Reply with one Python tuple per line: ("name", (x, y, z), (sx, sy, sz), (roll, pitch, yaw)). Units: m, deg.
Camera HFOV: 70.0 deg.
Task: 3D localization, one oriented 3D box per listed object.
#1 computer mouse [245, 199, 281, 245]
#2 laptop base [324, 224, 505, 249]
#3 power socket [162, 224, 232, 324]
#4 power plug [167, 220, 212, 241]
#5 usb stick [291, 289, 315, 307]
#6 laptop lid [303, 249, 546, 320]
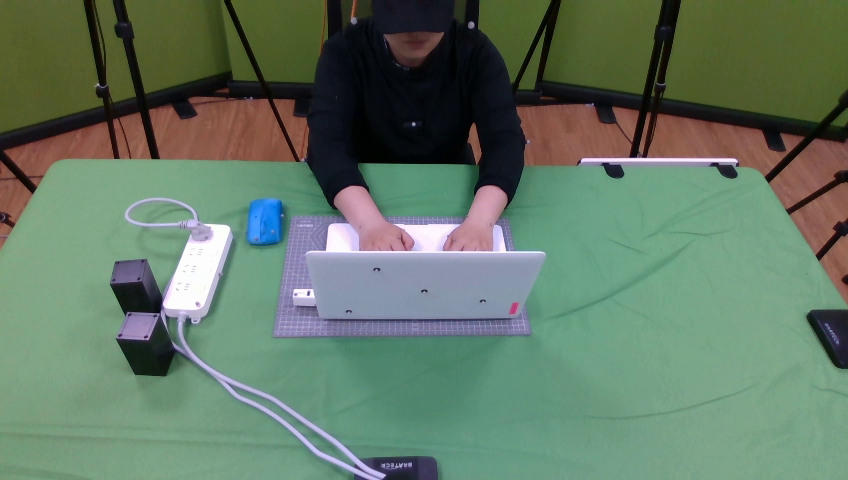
("computer mouse", (-0.318, -0.039, 1.201), (0.063, 0.041, 0.116), (0, 50, -8))
("laptop base", (-0.014, 0.056, 1.144), (0.355, 0.023, 0.234), (0, 42, -4))
("power socket", (-0.411, 0.053, 1.106), (0.072, 0.033, 0.225), (4, 45, -1))
("power plug", (-0.438, -0.017, 1.143), (0.072, 0.053, 0.035), (10, 43, 7))
("usb stick", (-0.203, 0.102, 1.066), (0.059, 0.027, 0.021), (4, 45, -5))
("laptop lid", (-0.002, 0.077, 0.962), (0.357, 0.242, 0.013), (1, 58, -5))
